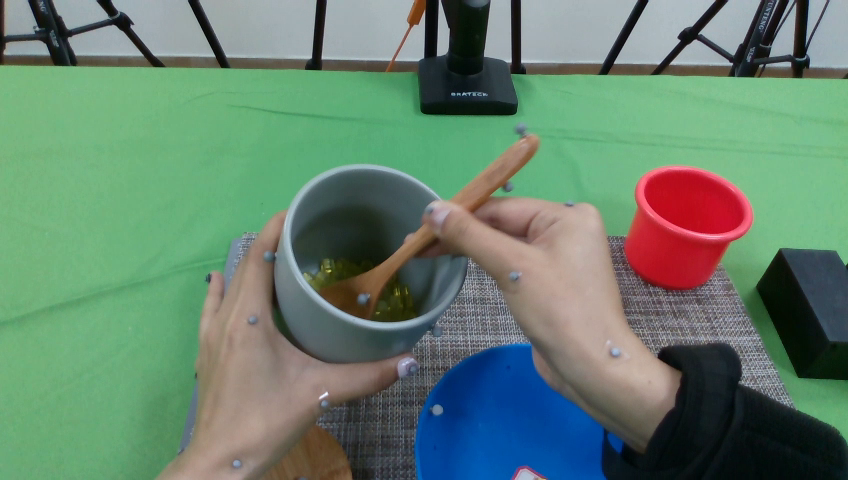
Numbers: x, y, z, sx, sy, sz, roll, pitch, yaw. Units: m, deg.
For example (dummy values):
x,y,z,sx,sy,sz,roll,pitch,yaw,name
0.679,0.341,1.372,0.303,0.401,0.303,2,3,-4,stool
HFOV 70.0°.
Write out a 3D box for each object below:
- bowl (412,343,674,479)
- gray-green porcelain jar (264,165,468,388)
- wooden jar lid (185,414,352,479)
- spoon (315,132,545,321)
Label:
x,y,z,sx,sy,sz,roll,pitch,yaw,name
0.067,0.147,0.377,0.151,0.077,0.150,2,45,-2,bowl
-0.044,0.031,0.384,0.106,0.127,0.105,10,59,-16,gray-green porcelain jar
-0.100,0.165,0.389,0.108,0.021,0.107,1,44,-1,wooden jar lid
-0.008,0.007,0.344,0.041,0.194,0.022,53,21,9,spoon
